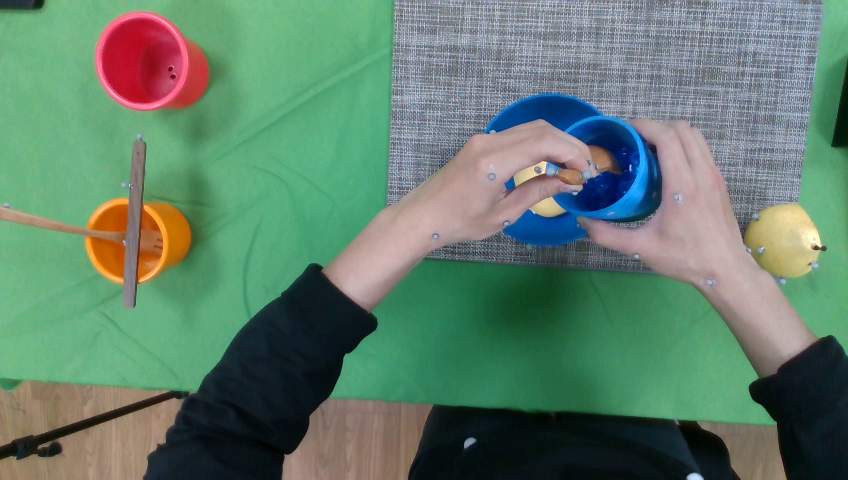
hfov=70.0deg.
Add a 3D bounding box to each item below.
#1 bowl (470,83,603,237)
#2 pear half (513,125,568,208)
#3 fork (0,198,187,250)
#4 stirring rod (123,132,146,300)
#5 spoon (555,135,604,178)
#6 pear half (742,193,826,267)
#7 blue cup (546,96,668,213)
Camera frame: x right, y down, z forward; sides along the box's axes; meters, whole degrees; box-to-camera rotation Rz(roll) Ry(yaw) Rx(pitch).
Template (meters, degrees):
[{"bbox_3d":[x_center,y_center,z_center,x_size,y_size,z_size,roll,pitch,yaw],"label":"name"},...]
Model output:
[{"bbox_3d":[0.123,-0.082,0.630,0.151,0.076,0.151,0,98,3],"label":"bowl"},{"bbox_3d":[0.128,-0.078,0.623,0.070,0.031,0.088,-17,91,0],"label":"pear half"},{"bbox_3d":[-0.352,-0.019,0.632,0.209,0.018,0.028,15,111,-43],"label":"fork"},{"bbox_3d":[-0.300,-0.023,0.627,0.014,0.006,0.176,8,99,-1],"label":"stirring rod"},{"bbox_3d":[0.127,-0.061,0.466,0.041,0.194,0.022,39,117,12],"label":"spoon"},{"bbox_3d":[0.362,-0.006,0.614,0.056,0.110,0.076,-16,93,6],"label":"pear half"},{"bbox_3d":[0.170,-0.063,0.535,0.092,0.101,0.092,-7,79,38],"label":"blue cup"}]
